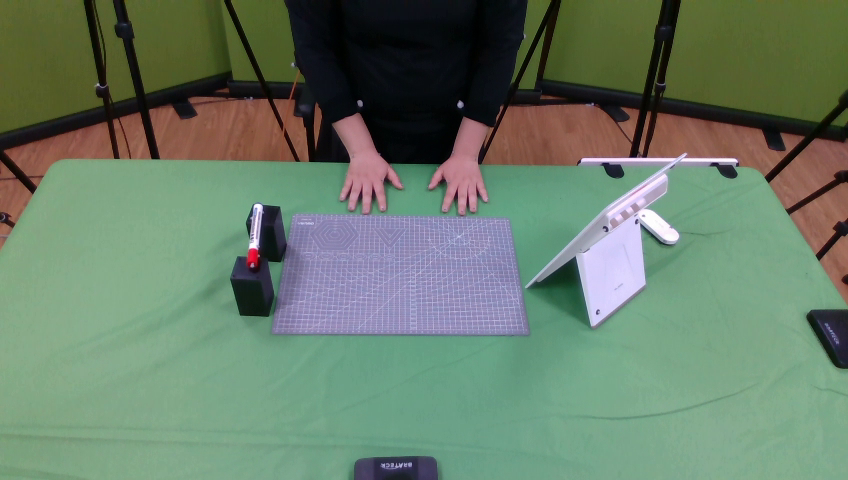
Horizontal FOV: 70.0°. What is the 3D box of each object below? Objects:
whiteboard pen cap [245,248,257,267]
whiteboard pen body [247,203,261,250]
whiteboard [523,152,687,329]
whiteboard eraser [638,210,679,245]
[{"bbox_3d":[-0.288,0.028,1.010,0.017,0.017,0.032,-2,44,-6],"label":"whiteboard pen cap"},{"bbox_3d":[-0.295,-0.014,1.052,0.017,0.017,0.139,-2,45,-7],"label":"whiteboard pen body"},{"bbox_3d":[0.346,0.025,1.046,0.217,0.306,0.143,-30,74,-29],"label":"whiteboard"},{"bbox_3d":[0.485,-0.027,1.260,0.041,0.019,0.100,-21,50,-21],"label":"whiteboard eraser"}]
